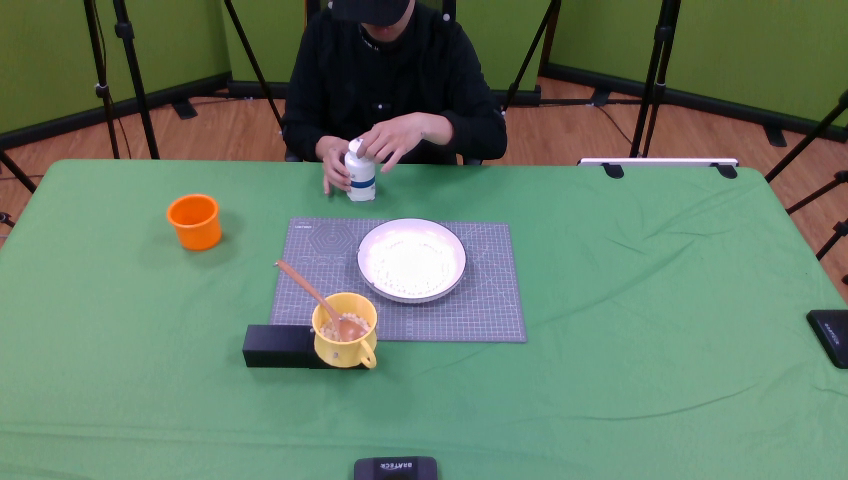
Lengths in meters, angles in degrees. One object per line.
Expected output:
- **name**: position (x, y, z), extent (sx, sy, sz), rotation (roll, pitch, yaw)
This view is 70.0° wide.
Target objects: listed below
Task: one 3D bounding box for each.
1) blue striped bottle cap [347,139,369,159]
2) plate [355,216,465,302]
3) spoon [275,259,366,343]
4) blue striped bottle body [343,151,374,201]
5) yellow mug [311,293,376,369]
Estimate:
- **blue striped bottle cap**: position (-0.133, -0.183, 1.216), extent (0.044, 0.021, 0.044), rotation (1, 47, -1)
- **plate**: position (-0.027, 0.039, 1.144), extent (0.208, 0.039, 0.206), rotation (2, 46, -2)
- **spoon**: position (-0.161, 0.098, 0.946), extent (0.194, 0.021, 0.041), rotation (48, 56, -5)
- **blue striped bottle body**: position (-0.135, -0.145, 1.257), extent (0.063, 0.121, 0.062), rotation (3, 47, -3)
- **yellow mug**: position (-0.116, 0.150, 0.945), extent (0.100, 0.064, 0.130), rotation (-29, 57, -28)
